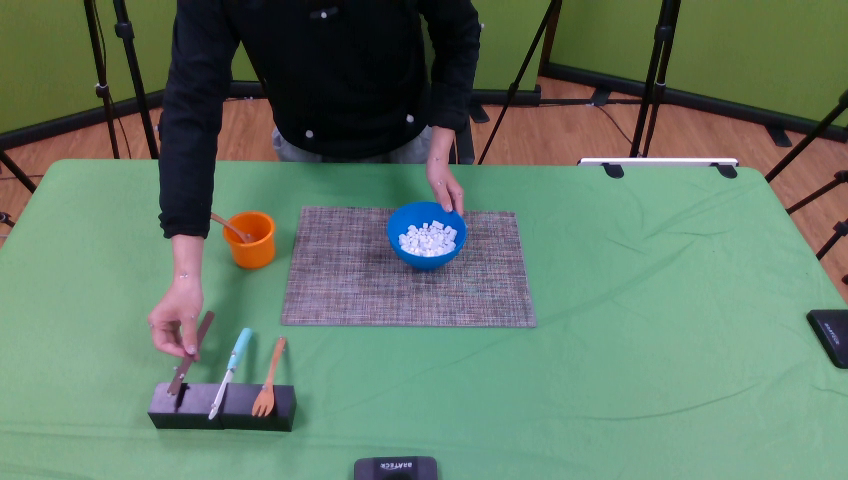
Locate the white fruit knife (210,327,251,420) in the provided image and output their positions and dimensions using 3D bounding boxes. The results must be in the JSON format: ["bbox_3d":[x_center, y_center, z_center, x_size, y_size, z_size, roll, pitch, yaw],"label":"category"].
[{"bbox_3d":[-0.298,0.200,0.937,0.016,0.027,0.206,1,30,-1],"label":"white fruit knife"}]

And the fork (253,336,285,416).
[{"bbox_3d":[-0.236,0.206,0.938,0.028,0.019,0.206,-3,27,-3],"label":"fork"}]

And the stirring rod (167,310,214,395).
[{"bbox_3d":[-0.361,0.171,0.946,0.014,0.006,0.175,32,32,-19],"label":"stirring rod"}]

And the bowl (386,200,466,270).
[{"bbox_3d":[0.001,0.003,1.150,0.151,0.077,0.150,2,46,-2],"label":"bowl"}]

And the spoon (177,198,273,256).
[{"bbox_3d":[-0.360,-0.026,1.106,0.195,0.021,0.041,38,35,-31],"label":"spoon"}]
